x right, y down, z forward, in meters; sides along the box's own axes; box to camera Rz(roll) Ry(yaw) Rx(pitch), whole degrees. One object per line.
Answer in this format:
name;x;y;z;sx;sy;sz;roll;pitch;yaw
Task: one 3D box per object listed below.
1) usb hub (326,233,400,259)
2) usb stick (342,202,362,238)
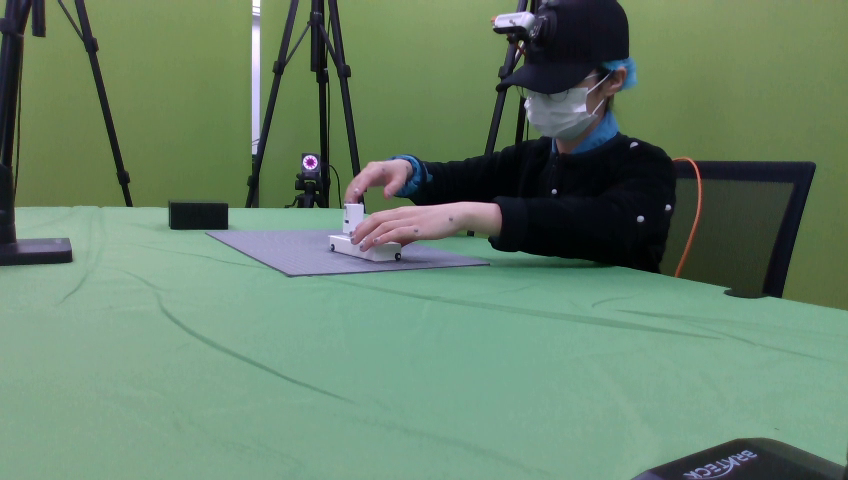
usb hub;-0.092;0.008;0.892;0.050;0.025;0.124;-4;9;-41
usb stick;-0.108;-0.027;0.914;0.027;0.059;0.021;-8;11;-41
